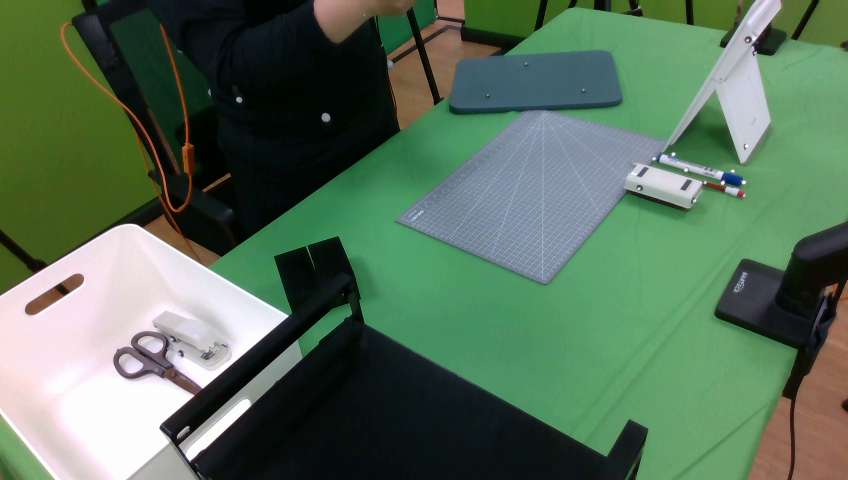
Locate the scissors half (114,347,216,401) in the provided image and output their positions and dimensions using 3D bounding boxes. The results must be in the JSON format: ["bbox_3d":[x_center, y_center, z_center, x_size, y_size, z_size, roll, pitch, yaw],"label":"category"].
[{"bbox_3d":[-0.348,0.185,0.811,0.174,0.013,0.040,14,53,19],"label":"scissors half"}]

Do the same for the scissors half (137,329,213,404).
[{"bbox_3d":[-0.336,0.172,0.822,0.174,0.013,0.040,34,56,31],"label":"scissors half"}]

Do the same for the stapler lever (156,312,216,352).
[{"bbox_3d":[-0.331,0.122,0.834,0.117,0.040,0.027,17,43,33],"label":"stapler lever"}]

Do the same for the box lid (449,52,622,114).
[{"bbox_3d":[0.249,-0.358,1.370,0.371,0.015,0.262,-1,40,9],"label":"box lid"}]

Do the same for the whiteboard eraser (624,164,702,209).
[{"bbox_3d":[0.396,-0.087,1.003,0.112,0.042,0.056,22,47,31],"label":"whiteboard eraser"}]

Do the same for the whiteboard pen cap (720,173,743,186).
[{"bbox_3d":[0.519,-0.103,1.020,0.033,0.018,0.018,23,49,30],"label":"whiteboard pen cap"}]

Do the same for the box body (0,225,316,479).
[{"bbox_3d":[-0.339,0.162,0.728,0.361,0.161,0.255,23,48,31],"label":"box body"}]

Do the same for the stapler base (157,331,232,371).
[{"bbox_3d":[-0.326,0.142,0.849,0.129,0.024,0.041,18,43,32],"label":"stapler base"}]

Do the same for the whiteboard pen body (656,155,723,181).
[{"bbox_3d":[0.475,-0.123,1.052,0.139,0.017,0.017,24,50,32],"label":"whiteboard pen body"}]

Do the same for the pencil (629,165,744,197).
[{"bbox_3d":[0.447,-0.103,1.038,0.192,0.012,0.012,21,48,29],"label":"pencil"}]

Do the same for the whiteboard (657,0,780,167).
[{"bbox_3d":[0.571,-0.272,1.038,0.143,0.306,0.218,37,54,17],"label":"whiteboard"}]
